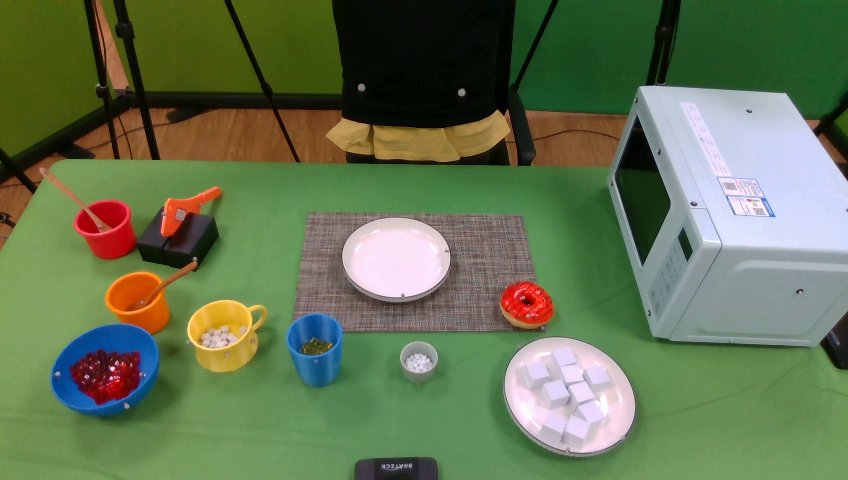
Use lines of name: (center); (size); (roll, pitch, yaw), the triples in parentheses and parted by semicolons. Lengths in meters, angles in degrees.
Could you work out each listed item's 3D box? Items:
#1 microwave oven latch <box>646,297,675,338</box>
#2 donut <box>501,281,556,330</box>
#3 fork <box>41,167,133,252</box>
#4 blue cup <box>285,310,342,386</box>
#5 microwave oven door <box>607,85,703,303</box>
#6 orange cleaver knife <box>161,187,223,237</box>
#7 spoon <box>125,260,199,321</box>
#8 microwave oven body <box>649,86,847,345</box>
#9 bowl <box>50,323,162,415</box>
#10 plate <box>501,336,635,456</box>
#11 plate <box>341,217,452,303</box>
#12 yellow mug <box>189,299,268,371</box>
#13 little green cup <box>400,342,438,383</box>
microwave oven latch: (0.412, 0.133, 1.060); (0.030, 0.029, 0.078); (5, 45, 1)
donut: (0.185, 0.116, 1.079); (0.099, 0.048, 0.098); (3, 45, -3)
fork: (-0.624, -0.055, 1.121); (0.208, 0.018, 0.028); (50, 51, -15)
blue cup: (-0.170, 0.179, 0.958); (0.093, 0.101, 0.092); (2, 44, -1)
microwave oven door: (0.423, -0.094, 1.140); (0.039, 0.245, 0.353); (2, 46, -1)
orange cleaver knife: (-0.449, -0.059, 1.181); (0.012, 0.077, 0.211); (14, 17, 6)
spoon: (-0.435, 0.083, 1.000); (0.022, 0.194, 0.041); (35, 34, -35)
microwave oven body: (0.567, -0.053, 1.118); (0.326, 0.261, 0.439); (2, 45, -1)
bowl: (-0.472, 0.209, 0.924); (0.151, 0.077, 0.150); (2, 45, -2)
plate: (0.225, 0.248, 0.963); (0.208, 0.039, 0.206); (2, 46, -2)
plate: (-0.052, 0.039, 1.140); (0.209, 0.038, 0.208); (2, 46, -2)
yellow mug: (-0.316, 0.148, 1.002); (0.131, 0.064, 0.099); (-32, 56, -31)
little green cup: (-0.010, 0.202, 0.991); (0.061, 0.039, 0.061); (2, 47, -2)
